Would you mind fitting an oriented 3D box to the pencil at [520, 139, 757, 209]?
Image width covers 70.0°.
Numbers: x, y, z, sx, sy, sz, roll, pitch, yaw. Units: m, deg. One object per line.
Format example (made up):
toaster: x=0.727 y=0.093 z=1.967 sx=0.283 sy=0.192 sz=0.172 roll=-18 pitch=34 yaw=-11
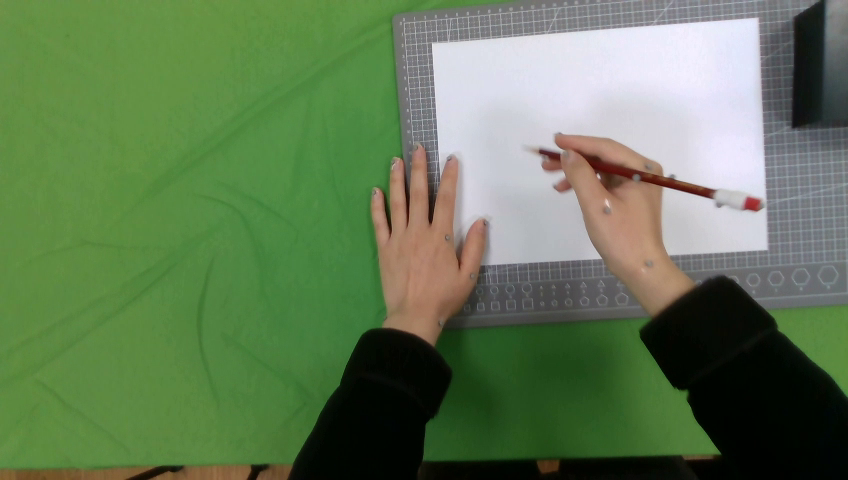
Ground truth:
pencil: x=0.148 y=-0.054 z=0.454 sx=0.192 sy=0.012 sz=0.012 roll=25 pitch=96 yaw=40
